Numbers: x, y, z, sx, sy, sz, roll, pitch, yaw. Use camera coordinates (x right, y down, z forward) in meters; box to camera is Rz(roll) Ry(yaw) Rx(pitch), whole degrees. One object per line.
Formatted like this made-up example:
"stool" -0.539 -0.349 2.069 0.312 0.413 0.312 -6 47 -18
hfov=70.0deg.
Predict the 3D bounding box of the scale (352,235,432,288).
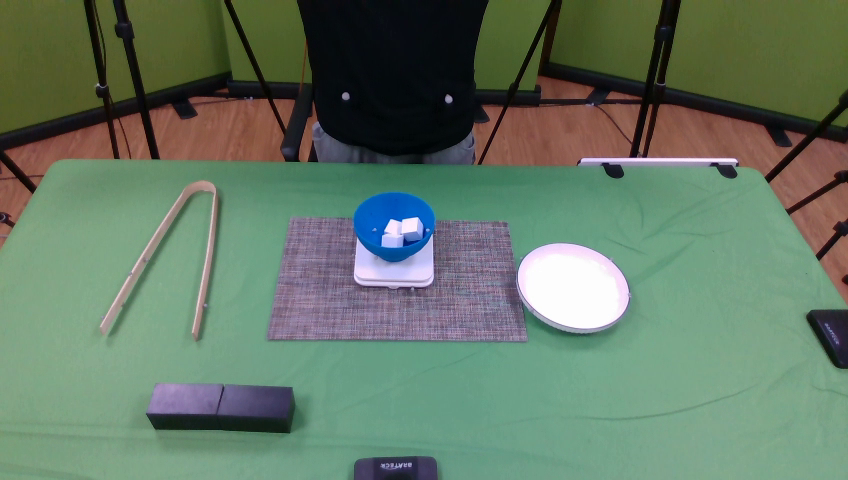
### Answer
"scale" -0.060 0.010 1.171 0.149 0.032 0.199 2 46 -3

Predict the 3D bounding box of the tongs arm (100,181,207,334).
"tongs arm" -0.494 0.018 1.132 0.051 0.026 0.382 7 45 0

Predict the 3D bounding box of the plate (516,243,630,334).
"plate" 0.272 0.092 1.120 0.208 0.039 0.206 2 46 -2

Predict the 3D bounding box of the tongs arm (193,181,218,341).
"tongs arm" -0.413 0.024 1.140 0.028 0.028 0.385 -5 47 -7

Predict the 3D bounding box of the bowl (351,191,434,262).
"bowl" -0.057 -0.013 1.119 0.151 0.077 0.150 1 46 -1
